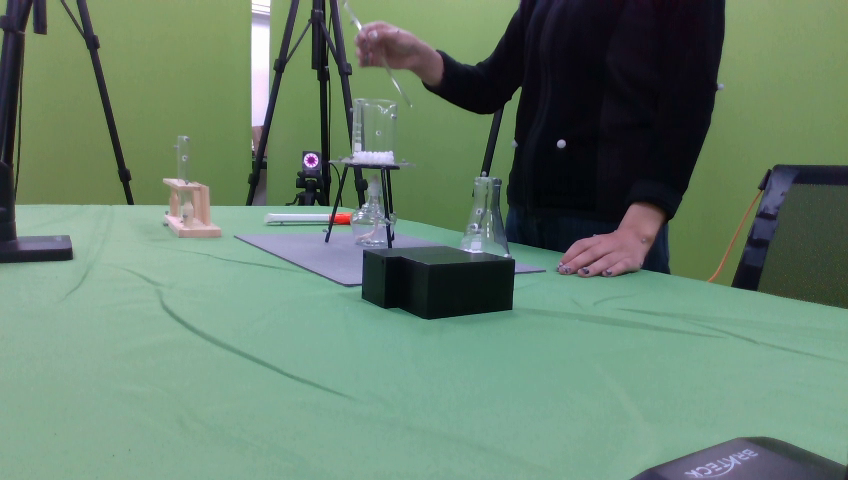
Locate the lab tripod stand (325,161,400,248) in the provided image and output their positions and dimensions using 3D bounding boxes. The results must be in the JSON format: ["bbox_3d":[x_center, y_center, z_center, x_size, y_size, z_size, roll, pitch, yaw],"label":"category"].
[{"bbox_3d":[-0.083,-0.059,0.977,0.148,0.131,0.148,4,8,0],"label":"lab tripod stand"}]

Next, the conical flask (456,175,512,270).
[{"bbox_3d":[0.082,-0.025,0.801,0.075,0.122,0.075,2,7,0],"label":"conical flask"}]

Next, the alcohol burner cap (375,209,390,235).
[{"bbox_3d":[-0.076,-0.035,1.145,0.034,0.048,0.034,1,7,0],"label":"alcohol burner cap"}]

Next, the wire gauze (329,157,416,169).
[{"bbox_3d":[-0.079,-0.125,0.972,0.121,0.011,0.125,6,6,5],"label":"wire gauze"}]

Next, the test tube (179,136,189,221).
[{"bbox_3d":[-0.425,-0.108,1.070,0.017,0.150,0.017,4,9,0],"label":"test tube"}]

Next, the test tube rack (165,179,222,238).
[{"bbox_3d":[-0.423,-0.062,1.098,0.067,0.085,0.241,-2,9,-28],"label":"test tube rack"}]

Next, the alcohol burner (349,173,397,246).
[{"bbox_3d":[-0.081,-0.050,0.982,0.078,0.119,0.078,4,8,0],"label":"alcohol burner"}]

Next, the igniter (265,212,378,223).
[{"bbox_3d":[-0.196,-0.048,1.286,0.278,0.025,0.057,-2,-2,-30],"label":"igniter"}]

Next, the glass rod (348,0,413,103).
[{"bbox_3d":[-0.073,-0.318,1.020,0.008,0.200,0.008,-30,18,11],"label":"glass rod"}]

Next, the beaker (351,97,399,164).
[{"bbox_3d":[-0.078,-0.172,0.963,0.074,0.100,0.084,6,8,18],"label":"beaker"}]
